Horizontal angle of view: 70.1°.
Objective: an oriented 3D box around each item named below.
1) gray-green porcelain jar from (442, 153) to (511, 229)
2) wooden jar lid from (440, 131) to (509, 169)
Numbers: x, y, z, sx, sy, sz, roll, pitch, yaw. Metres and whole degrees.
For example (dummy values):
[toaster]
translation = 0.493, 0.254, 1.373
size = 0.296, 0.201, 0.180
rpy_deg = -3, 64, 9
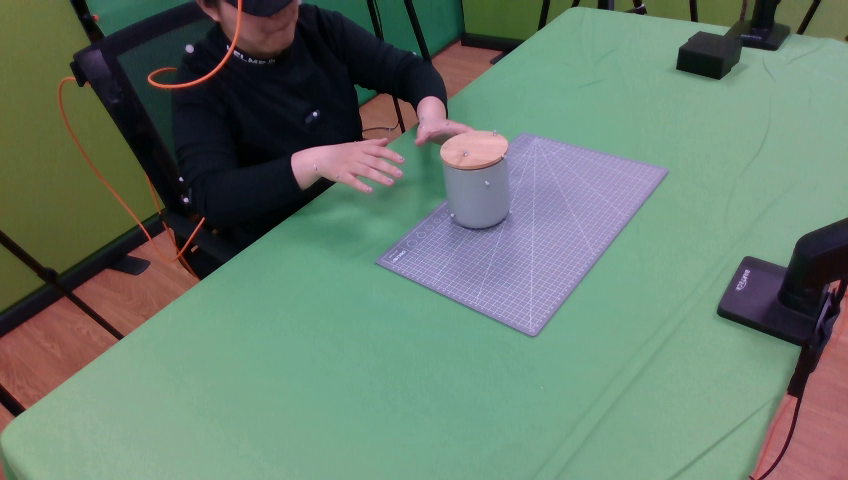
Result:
[gray-green porcelain jar]
translation = 0.088, -0.091, 0.988
size = 0.106, 0.127, 0.105
rpy_deg = -5, 40, 5
[wooden jar lid]
translation = 0.079, -0.137, 0.948
size = 0.108, 0.021, 0.108
rpy_deg = -5, 38, 5
